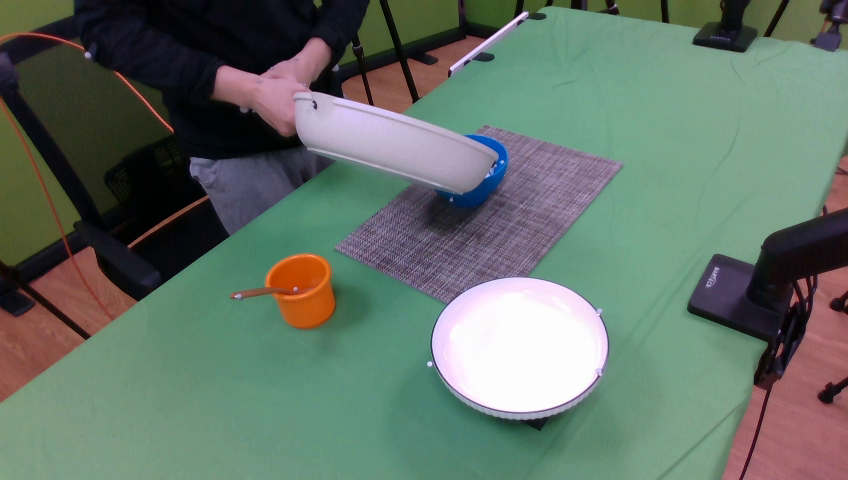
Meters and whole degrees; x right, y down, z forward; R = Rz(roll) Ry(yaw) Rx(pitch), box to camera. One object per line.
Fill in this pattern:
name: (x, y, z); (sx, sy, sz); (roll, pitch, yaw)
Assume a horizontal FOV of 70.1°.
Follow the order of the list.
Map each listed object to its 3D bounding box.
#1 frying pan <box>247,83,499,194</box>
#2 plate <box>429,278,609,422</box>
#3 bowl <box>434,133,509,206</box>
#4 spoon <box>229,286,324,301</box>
frying pan: (-0.118, -0.169, 0.900); (0.483, 0.102, 0.309); (29, 10, 36)
plate: (0.111, 0.129, 0.716); (0.207, 0.039, 0.206); (-5, 39, 4)
bowl: (0.071, -0.112, 1.038); (0.151, 0.077, 0.150); (-4, 41, 4)
spoon: (-0.197, 0.071, 0.816); (0.041, 0.195, 0.021); (12, 88, 23)
